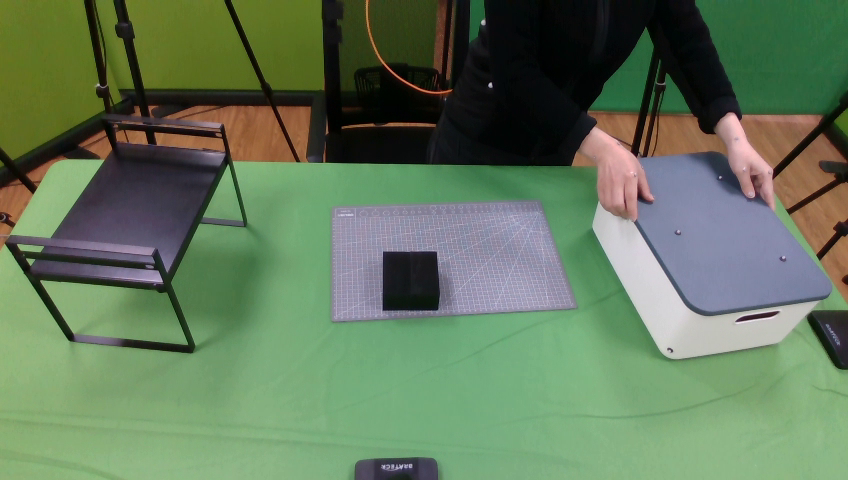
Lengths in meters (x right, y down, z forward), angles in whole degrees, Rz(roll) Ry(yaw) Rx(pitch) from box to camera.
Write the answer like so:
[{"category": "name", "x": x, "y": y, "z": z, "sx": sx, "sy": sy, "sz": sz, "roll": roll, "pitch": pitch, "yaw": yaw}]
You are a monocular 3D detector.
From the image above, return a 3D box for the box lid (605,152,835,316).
[{"category": "box lid", "x": 0.500, "y": -0.030, "z": 1.059, "sx": 0.264, "sy": 0.015, "sz": 0.369, "roll": -6, "pitch": 47, "yaw": -10}]

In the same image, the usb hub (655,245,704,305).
[{"category": "usb hub", "x": 0.481, "y": 0.065, "z": 1.148, "sx": 0.049, "sy": 0.025, "sz": 0.124, "roll": -1, "pitch": 52, "yaw": -8}]

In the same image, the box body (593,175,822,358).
[{"category": "box body", "x": 0.497, "y": 0.023, "z": 1.112, "sx": 0.254, "sy": 0.161, "sz": 0.361, "roll": -7, "pitch": 47, "yaw": -10}]
